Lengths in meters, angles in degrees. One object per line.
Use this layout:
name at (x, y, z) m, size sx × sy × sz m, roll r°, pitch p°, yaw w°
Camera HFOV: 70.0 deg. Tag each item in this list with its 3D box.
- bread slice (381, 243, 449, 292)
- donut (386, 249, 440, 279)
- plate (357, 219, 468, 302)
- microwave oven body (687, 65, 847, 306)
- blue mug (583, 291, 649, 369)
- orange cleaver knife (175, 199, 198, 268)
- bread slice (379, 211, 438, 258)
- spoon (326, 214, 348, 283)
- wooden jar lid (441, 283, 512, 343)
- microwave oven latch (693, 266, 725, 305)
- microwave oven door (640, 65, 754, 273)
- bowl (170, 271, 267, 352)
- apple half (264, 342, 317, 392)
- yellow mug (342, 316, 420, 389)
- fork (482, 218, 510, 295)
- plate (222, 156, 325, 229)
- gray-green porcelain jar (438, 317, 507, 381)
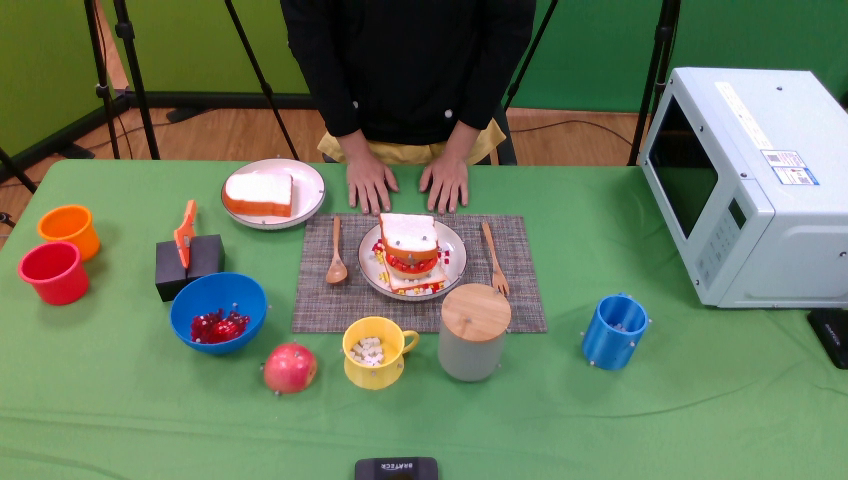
bread slice at (-0.027, 0.039, 1.139) m, size 0.107 × 0.018 × 0.133 m, roll -12°, pitch 47°, yaw -16°
donut at (-0.021, 0.029, 1.110) m, size 0.099 × 0.048 × 0.098 m, roll 2°, pitch 46°, yaw -2°
plate at (-0.021, 0.037, 1.141) m, size 0.208 × 0.039 × 0.206 m, roll 2°, pitch 46°, yaw -2°
microwave oven body at (0.669, -0.111, 1.176) m, size 0.326 × 0.261 × 0.439 m, roll 0°, pitch 46°, yaw -3°
blue mug at (0.324, 0.142, 1.023) m, size 0.082 × 0.106 × 0.116 m, roll 15°, pitch 47°, yaw 11°
orange cleaver knife at (-0.438, -0.017, 1.138) m, size 0.012 × 0.077 × 0.210 m, roll -14°, pitch 27°, yaw -6°
bread slice at (-0.024, -0.012, 1.064) m, size 0.105 × 0.019 × 0.130 m, roll 3°, pitch 33°, yaw -10°
spoon at (-0.167, 0.013, 1.164) m, size 0.041 × 0.022 × 0.192 m, roll -17°, pitch 47°, yaw 9°
wooden jar lid at (0.080, 0.114, 0.931) m, size 0.108 × 0.021 × 0.107 m, roll 1°, pitch 49°, yaw -1°
microwave oven latch at (0.523, 0.081, 1.115) m, size 0.030 × 0.029 × 0.078 m, roll 3°, pitch 46°, yaw 0°
microwave oven door at (0.522, -0.147, 1.193) m, size 0.039 × 0.245 × 0.353 m, roll 0°, pitch 47°, yaw -3°
bowl at (-0.333, 0.132, 1.006) m, size 0.151 × 0.077 × 0.150 m, roll 2°, pitch 46°, yaw -2°
apple half at (-0.214, 0.198, 0.970) m, size 0.074 × 0.053 × 0.080 m, roll 19°, pitch 48°, yaw 11°
yellow mug at (-0.067, 0.178, 0.990) m, size 0.131 × 0.064 × 0.099 m, roll -16°, pitch 50°, yaw -19°
fork at (0.136, 0.029, 1.172) m, size 0.028 × 0.019 × 0.206 m, roll -10°, pitch 48°, yaw 1°
plate at (-0.308, -0.095, 1.251) m, size 0.209 × 0.038 × 0.208 m, roll 2°, pitch 46°, yaw -2°
gray-green porcelain jar at (0.076, 0.158, 0.977) m, size 0.106 × 0.127 × 0.105 m, roll 2°, pitch 47°, yaw -2°
